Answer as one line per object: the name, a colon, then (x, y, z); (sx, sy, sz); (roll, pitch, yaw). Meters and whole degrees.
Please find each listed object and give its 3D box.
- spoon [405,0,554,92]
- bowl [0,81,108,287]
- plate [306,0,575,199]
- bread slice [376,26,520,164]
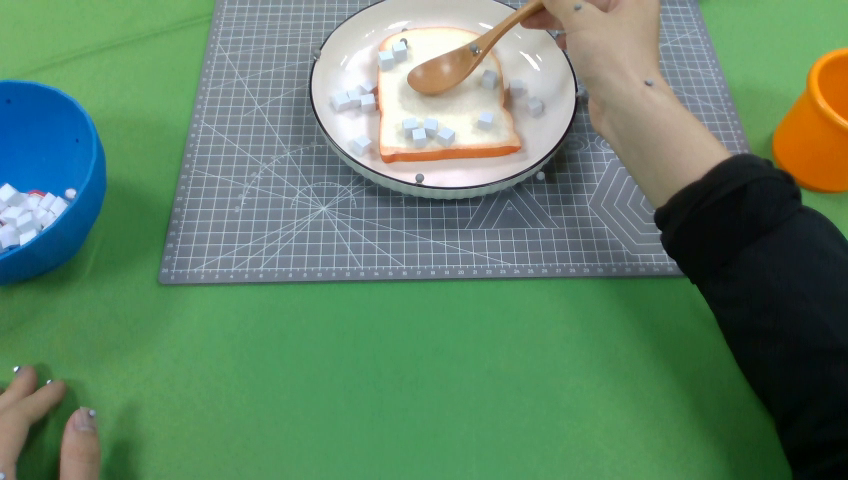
spoon: (0.071, -0.165, 0.451); (0.194, 0.022, 0.041); (-31, 48, 14)
bowl: (-0.280, -0.024, 0.406); (0.151, 0.077, 0.150); (1, 60, -1)
plate: (0.012, -0.116, 0.485); (0.209, 0.038, 0.207); (1, 61, -1)
bread slice: (0.010, -0.120, 0.490); (0.107, 0.018, 0.133); (-8, 63, -5)
